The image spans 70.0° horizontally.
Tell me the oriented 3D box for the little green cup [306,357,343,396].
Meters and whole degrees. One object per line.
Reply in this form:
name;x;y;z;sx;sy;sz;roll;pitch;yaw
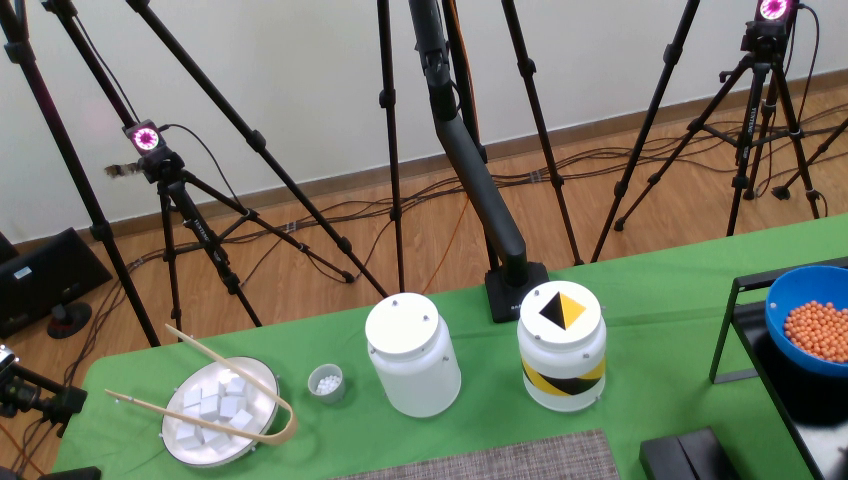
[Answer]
little green cup;-0.172;0.241;1.058;0.061;0.039;0.061;-6;47;7

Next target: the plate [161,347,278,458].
plate;-0.353;0.285;1.063;0.207;0.039;0.205;-7;46;8

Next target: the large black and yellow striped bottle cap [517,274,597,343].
large black and yellow striped bottle cap;0.193;0.097;0.882;0.115;0.019;0.114;-6;46;7

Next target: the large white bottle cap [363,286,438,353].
large white bottle cap;-0.037;0.119;0.918;0.115;0.018;0.113;-7;46;8

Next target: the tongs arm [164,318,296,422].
tongs arm;-0.356;0.220;1.083;0.384;0.028;0.028;21;49;33

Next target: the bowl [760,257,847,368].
bowl;0.488;0.102;0.743;0.151;0.077;0.150;-7;47;7

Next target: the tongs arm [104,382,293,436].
tongs arm;-0.395;0.276;1.036;0.382;0.027;0.050;9;46;24

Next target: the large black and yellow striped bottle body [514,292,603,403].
large black and yellow striped bottle body;0.209;0.156;0.941;0.130;0.186;0.129;-7;46;8

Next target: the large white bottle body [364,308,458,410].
large white bottle body;-0.021;0.176;0.979;0.130;0.186;0.129;-7;46;8
